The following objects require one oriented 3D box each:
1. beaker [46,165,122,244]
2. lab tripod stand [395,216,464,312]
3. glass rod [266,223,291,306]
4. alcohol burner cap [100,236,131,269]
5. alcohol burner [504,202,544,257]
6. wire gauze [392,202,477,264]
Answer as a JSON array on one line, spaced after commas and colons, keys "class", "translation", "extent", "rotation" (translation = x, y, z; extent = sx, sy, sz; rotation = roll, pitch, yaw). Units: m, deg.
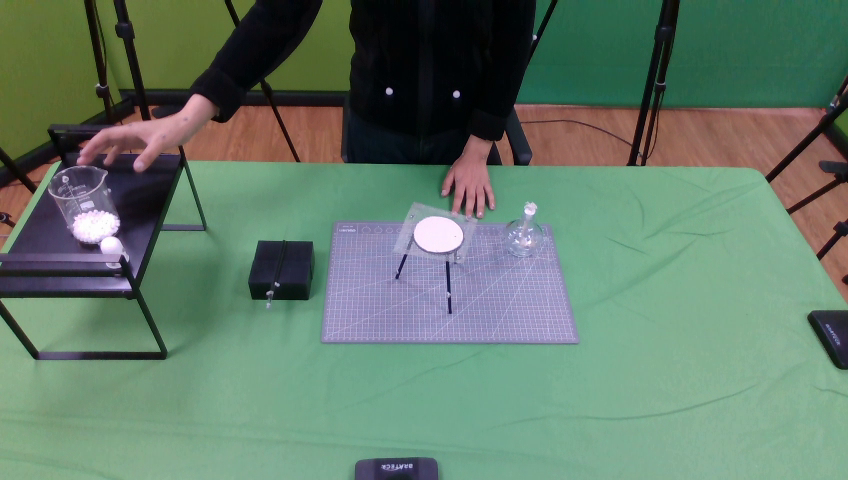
[{"class": "beaker", "translation": [-0.499, -0.051, 0.905], "extent": [0.073, 0.101, 0.084], "rotation": [35, 53, 26]}, {"class": "lab tripod stand", "translation": [0.023, 0.036, 1.084], "extent": [0.148, 0.132, 0.147], "rotation": [4, 46, -4]}, {"class": "glass rod", "translation": [-0.259, 0.039, 1.083], "extent": [0.008, 0.008, 0.198], "rotation": [3, 46, -1]}, {"class": "alcohol burner cap", "translation": [-0.452, 0.016, 0.883], "extent": [0.034, 0.048, 0.033], "rotation": [1, 47, -1]}, {"class": "alcohol burner", "translation": [0.195, -0.025, 1.170], "extent": [0.078, 0.120, 0.077], "rotation": [2, 44, -2]}, {"class": "wire gauze", "translation": [0.021, -0.011, 1.037], "extent": [0.121, 0.011, 0.124], "rotation": [14, 47, 8]}]
